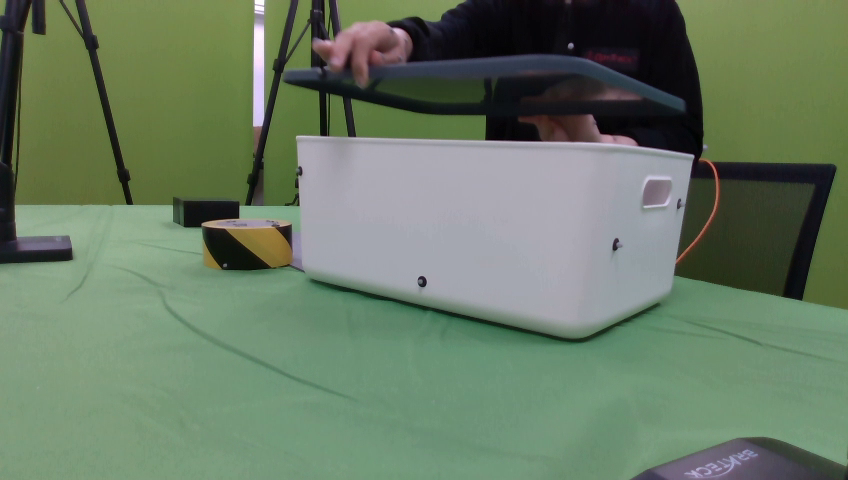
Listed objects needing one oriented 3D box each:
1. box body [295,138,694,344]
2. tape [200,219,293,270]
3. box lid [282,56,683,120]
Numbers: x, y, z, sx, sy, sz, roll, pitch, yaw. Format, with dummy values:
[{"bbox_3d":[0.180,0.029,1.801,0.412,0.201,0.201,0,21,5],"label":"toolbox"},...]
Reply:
[{"bbox_3d":[0.065,-0.020,0.653,0.362,0.160,0.255,9,9,36],"label":"box body"},{"bbox_3d":[-0.228,0.004,0.778,0.117,0.052,0.117,1,8,0],"label":"tape"},{"bbox_3d":[0.052,-0.153,0.644,0.369,0.015,0.265,11,8,40],"label":"box lid"}]
